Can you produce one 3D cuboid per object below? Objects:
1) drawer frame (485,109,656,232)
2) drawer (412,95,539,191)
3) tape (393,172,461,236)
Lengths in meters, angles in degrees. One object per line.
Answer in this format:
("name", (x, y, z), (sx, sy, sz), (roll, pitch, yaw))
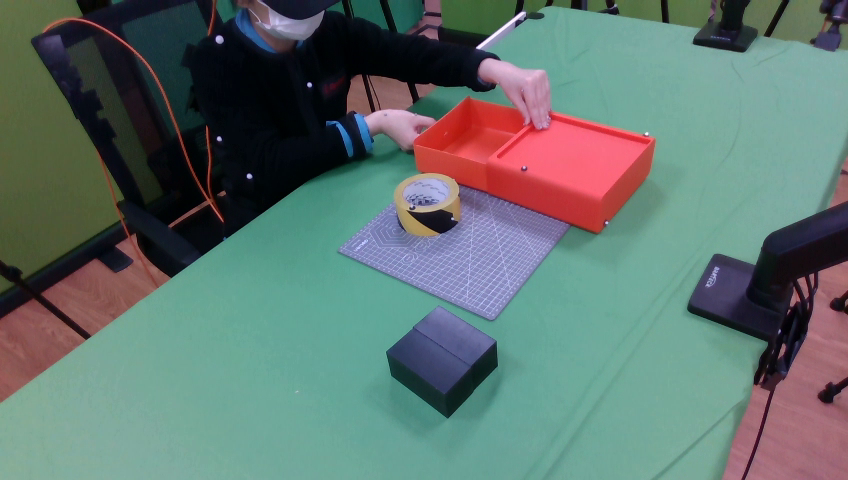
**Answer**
("drawer frame", (0.247, -0.126, 1.029), (0.212, 0.083, 0.202), (24, 49, 30))
("drawer", (0.119, -0.178, 1.112), (0.210, 0.073, 0.195), (21, 47, 30))
("tape", (0.005, -0.061, 1.011), (0.117, 0.053, 0.116), (-4, 40, 4))
